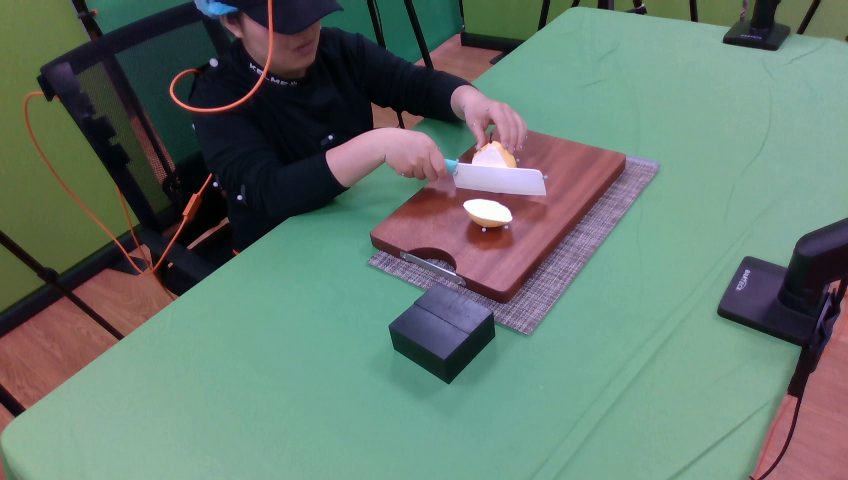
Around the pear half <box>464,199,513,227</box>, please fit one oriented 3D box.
[{"bbox_3d":[0.103,-0.038,0.958,0.071,0.031,0.087,-23,43,-34],"label":"pear half"}]

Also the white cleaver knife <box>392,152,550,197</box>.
[{"bbox_3d":[0.072,-0.109,1.026,0.284,0.066,0.021,11,47,25],"label":"white cleaver knife"}]

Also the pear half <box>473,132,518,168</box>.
[{"bbox_3d":[0.123,-0.140,1.017,0.076,0.110,0.056,14,46,20],"label":"pear half"}]
